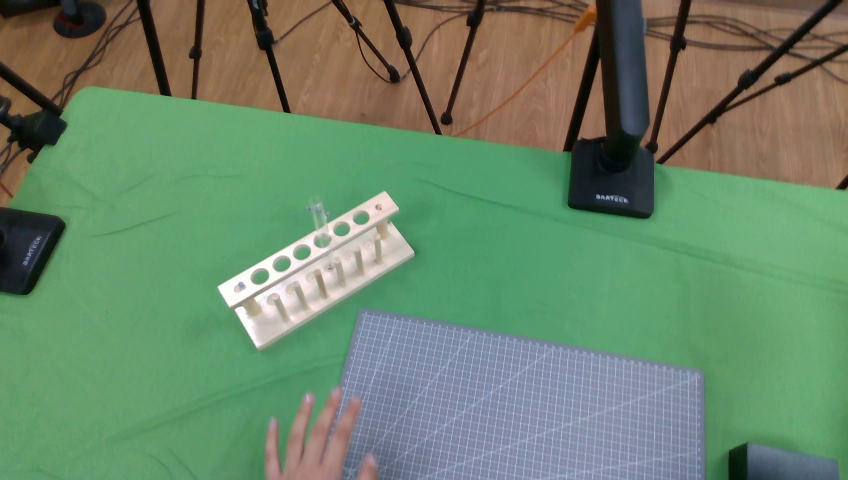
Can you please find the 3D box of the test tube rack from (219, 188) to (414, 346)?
[{"bbox_3d":[-0.132,0.035,0.793,0.242,0.086,0.066,-31,66,-15],"label":"test tube rack"}]

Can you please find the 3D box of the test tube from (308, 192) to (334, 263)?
[{"bbox_3d":[-0.127,-0.012,0.762,0.017,0.151,0.017,1,59,-1],"label":"test tube"}]
